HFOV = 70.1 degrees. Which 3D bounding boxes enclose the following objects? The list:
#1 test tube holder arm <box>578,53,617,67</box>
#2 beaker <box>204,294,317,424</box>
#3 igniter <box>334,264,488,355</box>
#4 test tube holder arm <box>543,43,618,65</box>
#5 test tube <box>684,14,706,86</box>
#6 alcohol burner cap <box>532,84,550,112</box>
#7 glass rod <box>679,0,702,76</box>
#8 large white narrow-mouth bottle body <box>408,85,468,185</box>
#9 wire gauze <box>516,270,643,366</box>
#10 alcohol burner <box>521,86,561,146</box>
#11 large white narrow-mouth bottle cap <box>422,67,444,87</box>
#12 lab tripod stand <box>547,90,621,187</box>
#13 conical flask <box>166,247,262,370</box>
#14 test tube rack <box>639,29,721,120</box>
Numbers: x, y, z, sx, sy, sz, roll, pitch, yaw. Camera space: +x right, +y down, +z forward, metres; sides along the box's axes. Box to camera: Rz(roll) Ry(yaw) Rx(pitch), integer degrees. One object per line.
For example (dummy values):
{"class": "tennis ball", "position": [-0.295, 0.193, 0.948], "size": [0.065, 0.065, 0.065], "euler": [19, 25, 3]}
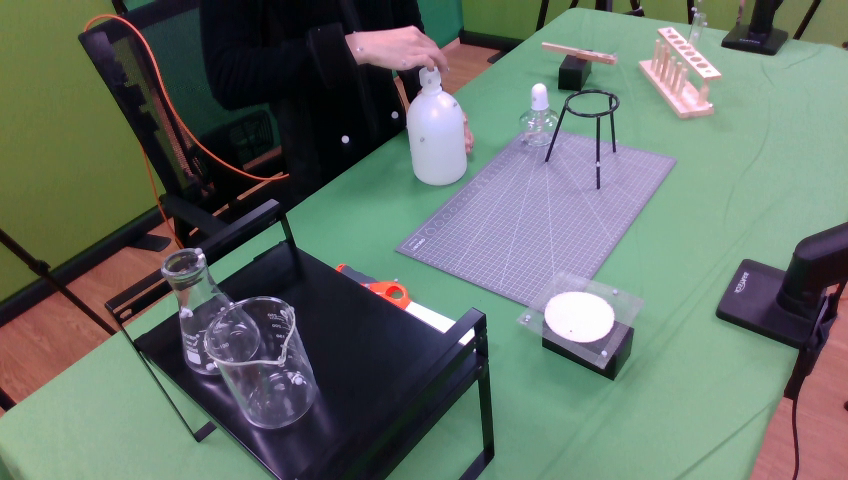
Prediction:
{"class": "test tube holder arm", "position": [0.376, -0.393, 1.314], "size": [0.087, 0.015, 0.010], "euler": [26, 51, 32]}
{"class": "beaker", "position": [-0.137, 0.110, 0.536], "size": [0.083, 0.101, 0.074], "euler": [30, 53, 36]}
{"class": "igniter", "position": [-0.030, 0.095, 0.871], "size": [0.274, 0.025, 0.057], "euler": [22, 59, 31]}
{"class": "test tube holder arm", "position": [0.344, -0.413, 1.341], "size": [0.177, 0.015, 0.013], "euler": [25, 51, 31]}
{"class": "test tube", "position": [0.540, -0.378, 1.215], "size": [0.017, 0.151, 0.017], "euler": [-2, 44, 3]}
{"class": "alcohol burner cap", "position": [0.218, -0.269, 1.133], "size": [0.034, 0.048, 0.033], "euler": [-8, 36, 7]}
{"class": "glass rod", "position": [0.543, -0.417, 1.233], "size": [0.008, 0.200, 0.008], "euler": [1, 40, 0]}
{"class": "large white narrow-mouth bottle body", "position": [0.024, -0.201, 1.082], "size": [0.102, 0.195, 0.101], "euler": [-4, 40, 4]}
{"class": "wire gauze", "position": [0.200, 0.093, 0.777], "size": [0.124, 0.011, 0.122], "euler": [23, 49, 32]}
{"class": "alcohol burner", "position": [0.223, -0.241, 1.155], "size": [0.078, 0.119, 0.077], "euler": [-5, 43, 5]}
{"class": "large white narrow-mouth bottle cap", "position": [0.015, -0.275, 1.019], "size": [0.038, 0.024, 0.037], "euler": [-4, 40, 4]}
{"class": "lab tripod stand", "position": [0.288, -0.184, 1.062], "size": [0.148, 0.132, 0.147], "euler": [-6, 41, 6]}
{"class": "conical flask", "position": [-0.208, 0.064, 0.584], "size": [0.075, 0.122, 0.075], "euler": [-5, 40, 4]}
{"class": "test tube rack", "position": [0.527, -0.351, 1.262], "size": [0.067, 0.085, 0.241], "euler": [-8, 40, 1]}
